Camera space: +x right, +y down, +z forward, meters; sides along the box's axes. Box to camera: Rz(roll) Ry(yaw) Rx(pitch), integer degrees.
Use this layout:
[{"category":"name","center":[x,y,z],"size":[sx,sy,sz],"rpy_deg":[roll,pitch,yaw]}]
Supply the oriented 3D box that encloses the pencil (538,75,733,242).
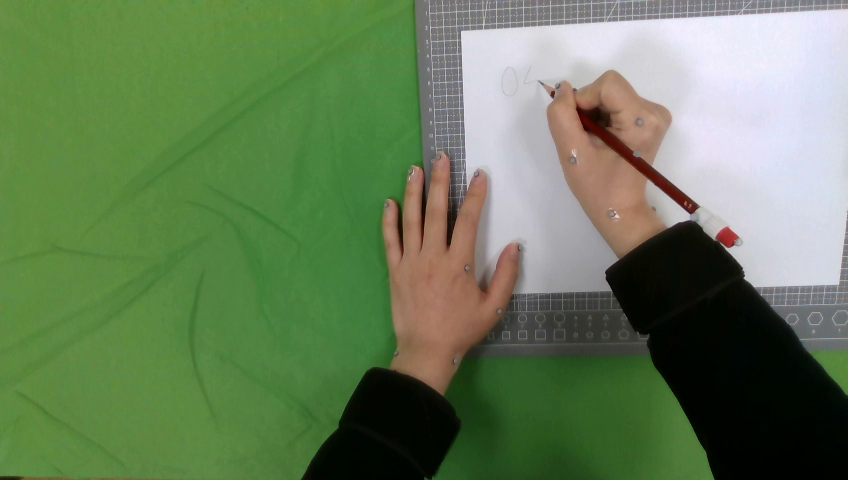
[{"category":"pencil","center":[0.131,-0.064,0.406],"size":[0.012,0.192,0.012],"rpy_deg":[-21,140,-18]}]
